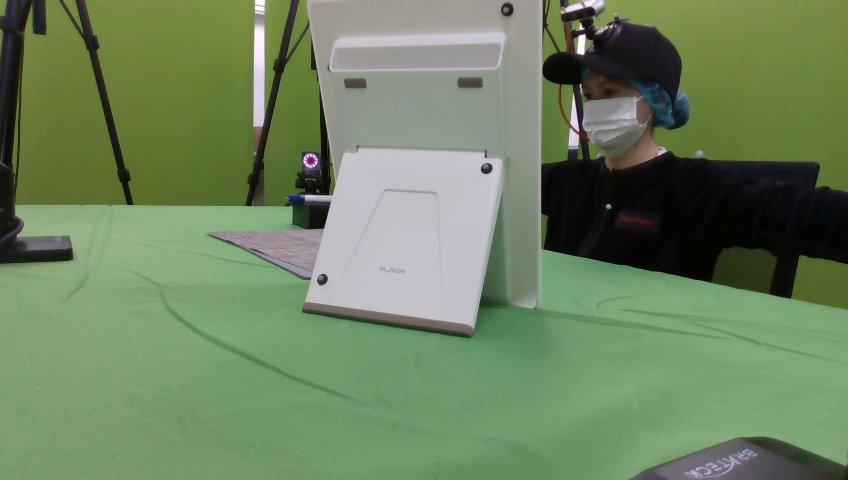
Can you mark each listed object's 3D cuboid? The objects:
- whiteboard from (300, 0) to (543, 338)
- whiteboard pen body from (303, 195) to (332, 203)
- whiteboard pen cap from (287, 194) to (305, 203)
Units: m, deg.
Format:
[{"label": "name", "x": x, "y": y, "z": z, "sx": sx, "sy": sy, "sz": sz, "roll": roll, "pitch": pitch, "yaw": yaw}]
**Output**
[{"label": "whiteboard", "x": -0.020, "y": -0.050, "z": 0.523, "sx": 0.216, "sy": 0.305, "sz": 0.144, "roll": 6, "pitch": 27, "yaw": 22}, {"label": "whiteboard pen body", "x": -0.198, "y": -0.083, "z": 1.229, "sx": 0.141, "sy": 0.017, "sz": 0.017, "roll": 0, "pitch": 8, "yaw": -22}, {"label": "whiteboard pen cap", "x": -0.255, "y": -0.083, "z": 1.206, "sx": 0.033, "sy": 0.018, "sz": 0.018, "roll": 1, "pitch": 8, "yaw": -22}]
